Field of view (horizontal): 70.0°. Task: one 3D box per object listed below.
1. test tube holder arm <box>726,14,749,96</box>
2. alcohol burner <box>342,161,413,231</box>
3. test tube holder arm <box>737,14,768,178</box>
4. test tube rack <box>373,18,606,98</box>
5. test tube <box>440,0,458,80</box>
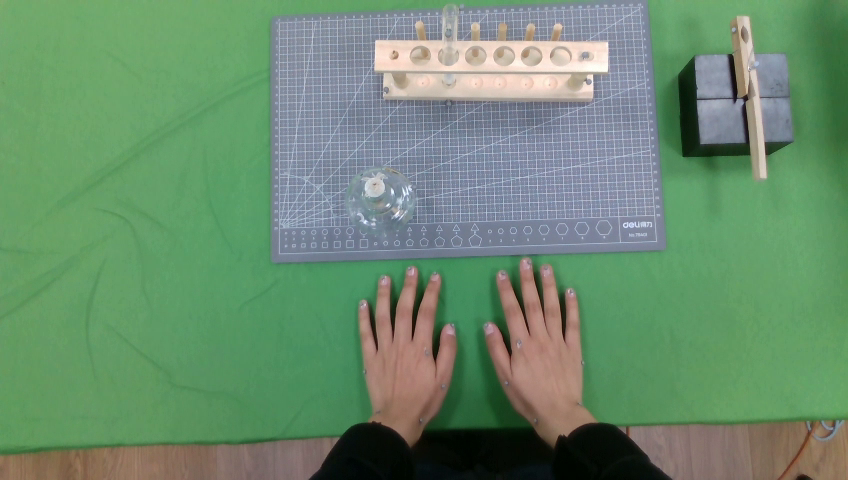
[{"bbox_3d":[0.338,-0.198,0.652,0.010,0.015,0.087,-5,84,-3],"label":"test tube holder arm"},{"bbox_3d":[-0.051,-0.050,0.644,0.078,0.119,0.077,0,82,1],"label":"alcohol burner"},{"bbox_3d":[0.349,-0.154,0.647,0.013,0.015,0.178,-6,84,-3],"label":"test tube holder arm"},{"bbox_3d":[0.070,-0.205,0.672,0.242,0.085,0.066,1,84,2],"label":"test tube rack"},{"bbox_3d":[0.024,-0.201,0.624,0.017,0.150,0.017,0,82,1],"label":"test tube"}]
